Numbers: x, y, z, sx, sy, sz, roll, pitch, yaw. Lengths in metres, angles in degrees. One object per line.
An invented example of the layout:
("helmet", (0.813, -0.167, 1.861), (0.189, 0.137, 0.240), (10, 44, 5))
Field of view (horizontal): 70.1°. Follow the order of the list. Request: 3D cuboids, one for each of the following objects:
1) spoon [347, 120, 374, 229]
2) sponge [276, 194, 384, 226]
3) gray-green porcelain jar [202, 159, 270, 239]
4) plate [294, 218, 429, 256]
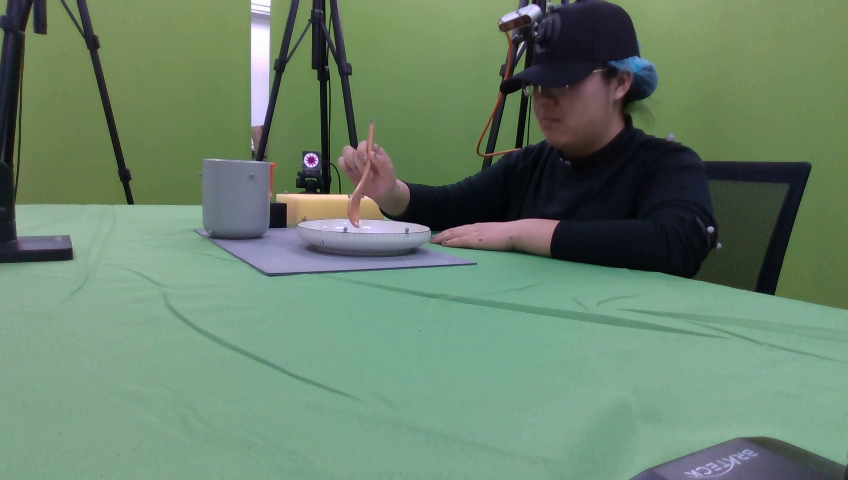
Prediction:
("spoon", (-0.098, -0.109, 0.976), (0.021, 0.193, 0.042), (4, -21, 19))
("sponge", (-0.203, -0.067, 1.312), (0.208, 0.061, 0.117), (-3, 9, -35))
("gray-green porcelain jar", (-0.310, -0.068, 0.999), (0.106, 0.126, 0.106), (3, 8, 0))
("plate", (-0.096, -0.005, 0.936), (0.208, 0.039, 0.207), (3, 7, 0))
